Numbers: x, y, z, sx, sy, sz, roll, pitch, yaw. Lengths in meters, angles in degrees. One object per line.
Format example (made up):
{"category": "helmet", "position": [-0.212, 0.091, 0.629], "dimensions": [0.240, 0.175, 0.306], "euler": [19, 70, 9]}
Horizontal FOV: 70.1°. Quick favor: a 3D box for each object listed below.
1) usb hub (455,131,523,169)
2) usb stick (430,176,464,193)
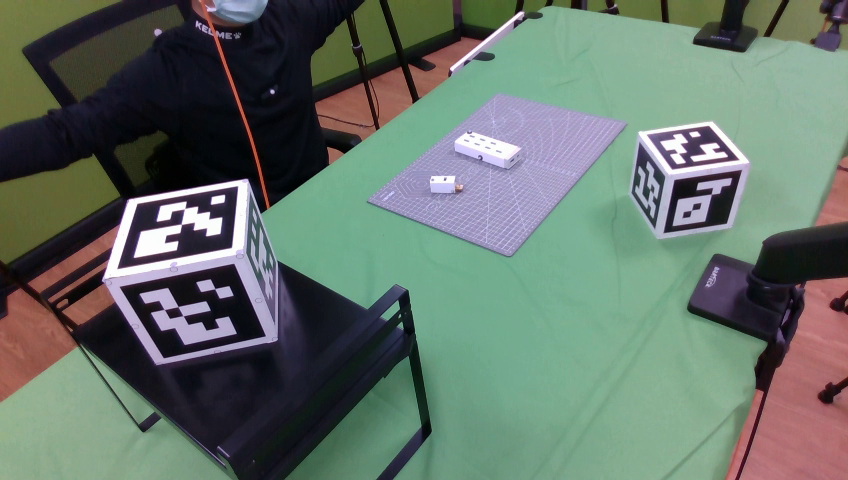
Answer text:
{"category": "usb hub", "position": [0.122, -0.172, 1.147], "dimensions": [0.124, 0.025, 0.049], "euler": [25, 50, 31]}
{"category": "usb stick", "position": [0.042, -0.098, 1.071], "dimensions": [0.059, 0.027, 0.021], "euler": [4, 41, 8]}
